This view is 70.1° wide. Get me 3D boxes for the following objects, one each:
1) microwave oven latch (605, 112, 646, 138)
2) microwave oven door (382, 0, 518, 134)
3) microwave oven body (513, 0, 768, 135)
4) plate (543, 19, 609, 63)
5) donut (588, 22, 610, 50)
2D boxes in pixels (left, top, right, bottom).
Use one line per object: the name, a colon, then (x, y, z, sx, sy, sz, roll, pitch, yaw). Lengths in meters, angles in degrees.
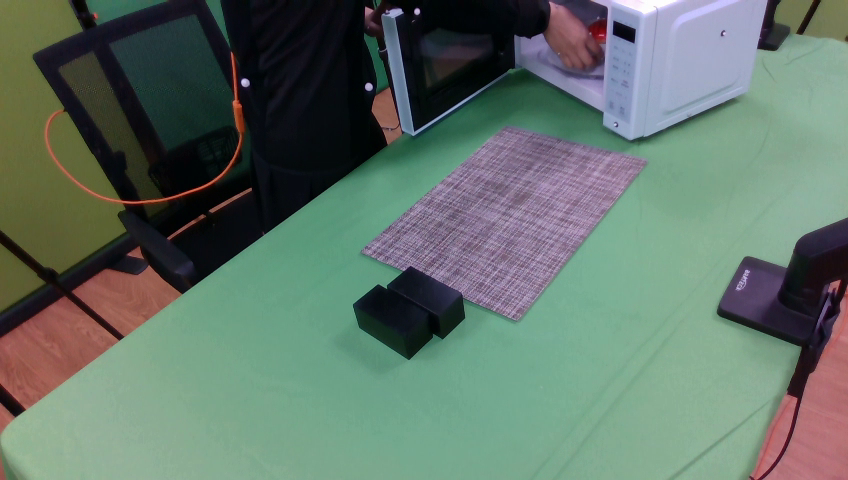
microwave oven latch: (0.375, -0.217, 1.130, 0.030, 0.029, 0.078, -24, 42, -16)
microwave oven door: (0.068, -0.408, 1.253, 0.039, 0.245, 0.357, 27, 52, 35)
microwave oven body: (0.410, -0.441, 1.235, 0.327, 0.261, 0.437, -25, 42, -16)
plate: (0.359, -0.424, 1.295, 0.209, 0.038, 0.208, -2, 37, 2)
donut: (0.399, -0.428, 1.294, 0.099, 0.048, 0.098, 5, 49, -6)
